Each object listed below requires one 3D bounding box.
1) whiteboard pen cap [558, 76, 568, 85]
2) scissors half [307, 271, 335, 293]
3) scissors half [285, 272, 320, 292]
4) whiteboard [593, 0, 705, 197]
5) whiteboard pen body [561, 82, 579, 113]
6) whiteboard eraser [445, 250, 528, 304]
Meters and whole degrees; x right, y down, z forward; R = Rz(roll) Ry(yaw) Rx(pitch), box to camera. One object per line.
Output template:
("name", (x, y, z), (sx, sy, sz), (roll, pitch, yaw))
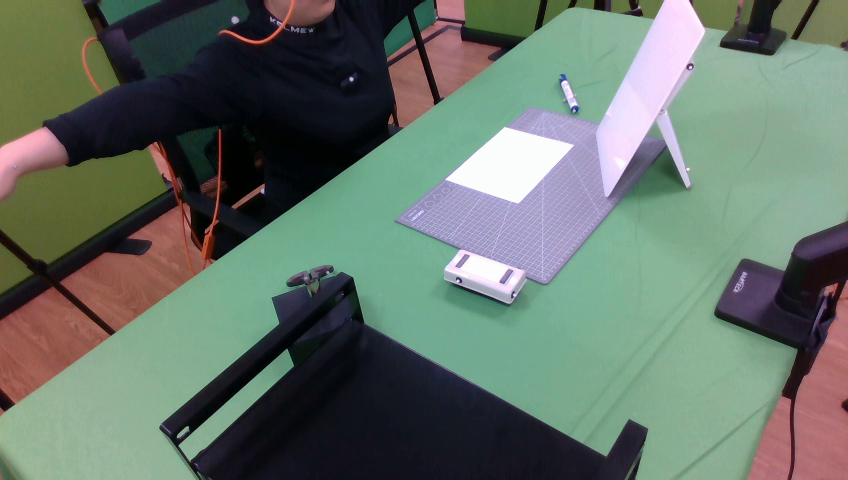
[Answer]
("whiteboard pen cap", (0.309, -0.350, 1.340), (0.018, 0.018, 0.033), (-6, 41, 2))
("scissors half", (-0.152, 0.060, 0.872), (0.040, 0.013, 0.175), (-5, 6, -4))
("scissors half", (-0.171, 0.063, 0.868), (0.040, 0.013, 0.174), (-12, 7, -21))
("whiteboard", (0.421, -0.227, 1.009), (0.144, 0.305, 0.216), (17, 41, -3))
("whiteboard pen body", (0.310, -0.311, 1.297), (0.017, 0.017, 0.140), (-6, 41, 3))
("whiteboard eraser", (0.090, 0.056, 0.882), (0.112, 0.042, 0.056), (18, 44, 27))
